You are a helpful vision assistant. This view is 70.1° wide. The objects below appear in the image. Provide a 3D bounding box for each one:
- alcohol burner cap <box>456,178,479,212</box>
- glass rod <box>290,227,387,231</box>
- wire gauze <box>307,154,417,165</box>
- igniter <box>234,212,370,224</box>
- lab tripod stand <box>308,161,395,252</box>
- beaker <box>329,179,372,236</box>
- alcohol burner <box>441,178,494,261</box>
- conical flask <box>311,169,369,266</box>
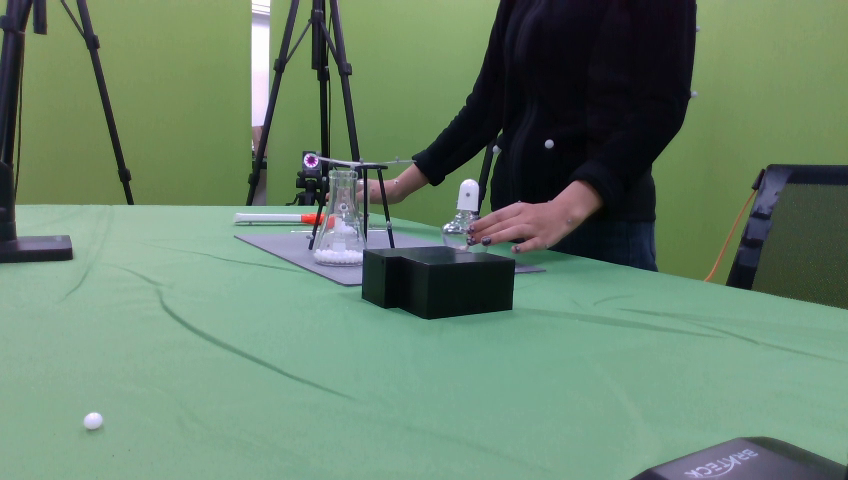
[{"bbox_3d":[0.064,-0.065,0.865,0.034,0.048,0.034,4,3,0],"label":"alcohol burner cap"},{"bbox_3d":[-0.161,-0.023,1.177,0.201,0.008,0.008,-2,8,-28],"label":"glass rod"},{"bbox_3d":[-0.094,-0.120,0.913,0.122,0.011,0.124,-5,11,-45],"label":"wire gauze"},{"bbox_3d":[-0.247,-0.046,1.253,0.278,0.025,0.057,-1,-3,-27],"label":"igniter"},{"bbox_3d":[-0.098,-0.053,0.918,0.148,0.131,0.148,4,7,0],"label":"lab tripod stand"},{"bbox_3d":[-0.137,-0.061,1.101,0.084,0.100,0.074,4,7,20],"label":"beaker"},{"bbox_3d":[0.063,-0.030,0.869,0.078,0.119,0.078,3,10,0],"label":"alcohol burner"},{"bbox_3d":[-0.107,-0.031,0.786,0.075,0.122,0.075,2,8,0],"label":"conical flask"}]
